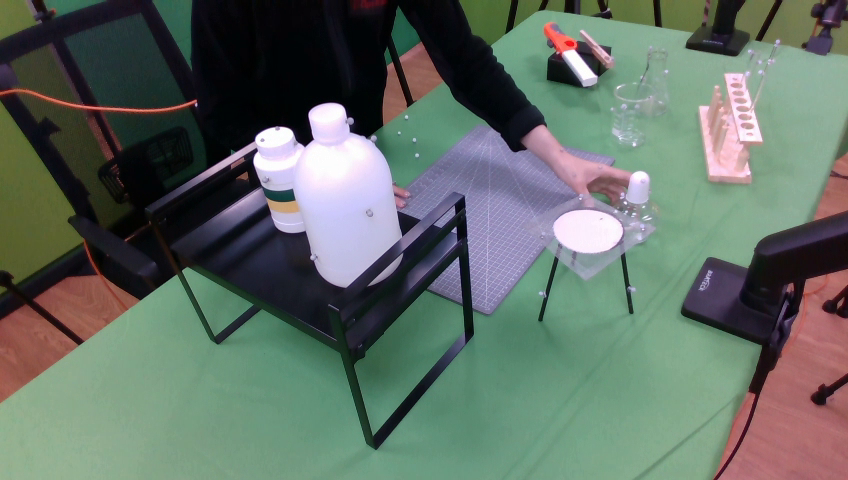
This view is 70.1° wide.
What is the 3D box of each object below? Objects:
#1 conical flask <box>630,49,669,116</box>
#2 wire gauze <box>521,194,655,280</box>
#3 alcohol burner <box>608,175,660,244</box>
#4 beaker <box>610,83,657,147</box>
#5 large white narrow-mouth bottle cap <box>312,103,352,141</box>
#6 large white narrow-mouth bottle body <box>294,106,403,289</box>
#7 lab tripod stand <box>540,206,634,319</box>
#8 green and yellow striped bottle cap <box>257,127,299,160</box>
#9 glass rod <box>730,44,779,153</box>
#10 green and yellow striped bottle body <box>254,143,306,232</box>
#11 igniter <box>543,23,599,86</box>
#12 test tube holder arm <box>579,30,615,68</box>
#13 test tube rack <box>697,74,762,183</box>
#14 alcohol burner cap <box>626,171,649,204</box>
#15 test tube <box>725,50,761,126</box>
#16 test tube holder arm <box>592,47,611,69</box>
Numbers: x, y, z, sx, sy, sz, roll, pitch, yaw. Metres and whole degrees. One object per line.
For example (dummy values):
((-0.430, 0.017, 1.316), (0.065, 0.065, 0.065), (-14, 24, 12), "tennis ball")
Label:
((0.457, -0.316, 1.205), (0.075, 0.122, 0.075), (-4, 41, 4), "conical flask")
((0.207, -0.012, 0.772), (0.122, 0.011, 0.124), (-28, 44, -20), "wire gauze")
((0.322, -0.053, 0.924), (0.078, 0.119, 0.077), (-4, 43, 4), "alcohol burner")
((0.388, -0.235, 1.138), (0.074, 0.101, 0.083), (-31, 45, -25), "beaker")
((-0.088, -0.113, 0.579), (0.038, 0.024, 0.037), (-3, 40, 3), "large white narrow-mouth bottle cap")
((-0.082, -0.047, 0.634), (0.102, 0.195, 0.101), (-4, 40, 3), "large white narrow-mouth bottle body")
((0.218, 0.034, 0.821), (0.148, 0.132, 0.147), (-4, 42, 4), "lab tripod stand")
((-0.169, -0.112, 0.699), (0.045, 0.020, 0.045), (-5, 40, 5), "green and yellow striped bottle cap")
((0.555, -0.233, 1.020), (0.008, 0.200, 0.008), (2, 39, -1), "glass rod")
((-0.165, -0.073, 0.732), (0.063, 0.120, 0.063), (-4, 41, 4), "green and yellow striped bottle body")
((0.320, -0.419, 1.345), (0.057, 0.025, 0.274), (-12, 44, -3), "igniter")
((0.384, -0.428, 1.351), (0.013, 0.015, 0.177), (-11, 41, -3), "test tube holder arm")
((0.547, -0.208, 1.095), (0.066, 0.085, 0.242), (5, 42, 15), "test tube rack")
((0.320, -0.081, 0.900), (0.034, 0.048, 0.033), (-4, 42, 4), "alcohol burner cap")
((0.570, -0.269, 1.086), (0.017, 0.151, 0.017), (-1, 46, 1), "test tube")
((0.386, -0.398, 1.317), (0.010, 0.015, 0.087), (-11, 41, -2), "test tube holder arm")
